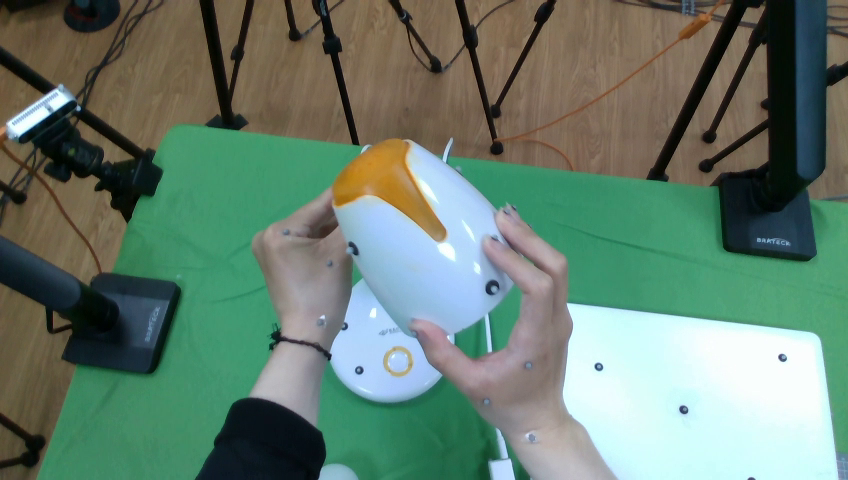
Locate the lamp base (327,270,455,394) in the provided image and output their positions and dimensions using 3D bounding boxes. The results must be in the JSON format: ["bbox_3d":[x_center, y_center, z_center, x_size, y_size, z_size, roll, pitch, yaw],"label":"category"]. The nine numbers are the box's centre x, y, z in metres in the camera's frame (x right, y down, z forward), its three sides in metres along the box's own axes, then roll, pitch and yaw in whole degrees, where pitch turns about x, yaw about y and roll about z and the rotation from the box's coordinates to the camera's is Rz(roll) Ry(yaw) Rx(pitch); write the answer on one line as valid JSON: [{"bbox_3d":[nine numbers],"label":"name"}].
[{"bbox_3d":[-0.047,0.072,0.696,0.161,0.181,0.177,-22,65,-9],"label":"lamp base"}]

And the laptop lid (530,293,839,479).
[{"bbox_3d":[0.307,0.193,0.722,0.356,0.013,0.240,8,68,3],"label":"laptop lid"}]

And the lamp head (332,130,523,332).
[{"bbox_3d":[-0.008,-0.016,0.422,0.112,0.111,0.124,-48,115,-18],"label":"lamp head"}]

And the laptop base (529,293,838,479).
[{"bbox_3d":[0.308,0.196,0.734,0.354,0.023,0.234,6,69,2],"label":"laptop base"}]

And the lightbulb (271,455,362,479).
[{"bbox_3d":[-0.122,0.271,0.681,0.107,0.060,0.059,0,65,16],"label":"lightbulb"}]

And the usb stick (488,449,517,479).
[{"bbox_3d":[0.092,0.273,0.695,0.027,0.021,0.059,-6,76,-4],"label":"usb stick"}]
